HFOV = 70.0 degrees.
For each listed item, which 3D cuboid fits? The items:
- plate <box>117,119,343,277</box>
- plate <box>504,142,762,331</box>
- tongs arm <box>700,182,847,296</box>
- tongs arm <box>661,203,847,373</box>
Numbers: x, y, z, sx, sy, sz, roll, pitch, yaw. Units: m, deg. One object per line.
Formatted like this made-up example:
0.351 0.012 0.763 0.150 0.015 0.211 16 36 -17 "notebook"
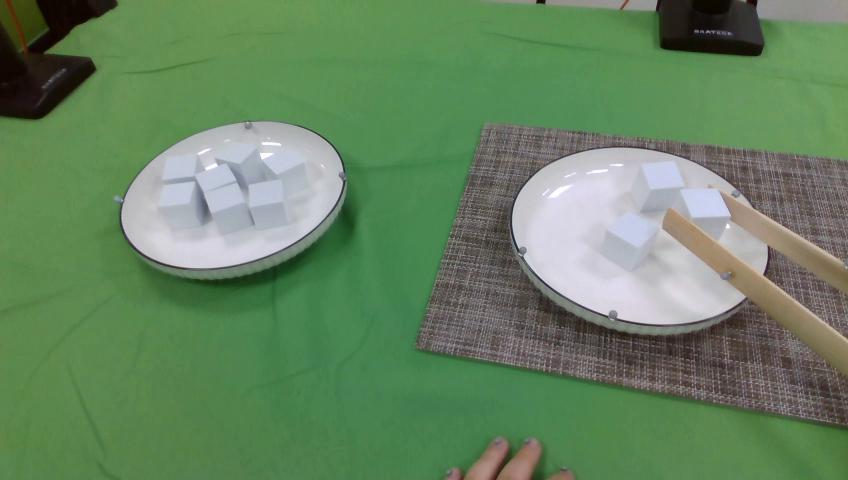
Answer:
-0.179 -0.040 0.581 0.209 0.038 0.207 -2 47 2 "plate"
0.172 -0.005 0.520 0.207 0.039 0.205 -2 48 2 "plate"
0.320 0.076 0.376 0.051 0.027 0.380 -30 50 -20 "tongs arm"
0.296 0.088 0.368 0.028 0.028 0.383 -25 48 -21 "tongs arm"
